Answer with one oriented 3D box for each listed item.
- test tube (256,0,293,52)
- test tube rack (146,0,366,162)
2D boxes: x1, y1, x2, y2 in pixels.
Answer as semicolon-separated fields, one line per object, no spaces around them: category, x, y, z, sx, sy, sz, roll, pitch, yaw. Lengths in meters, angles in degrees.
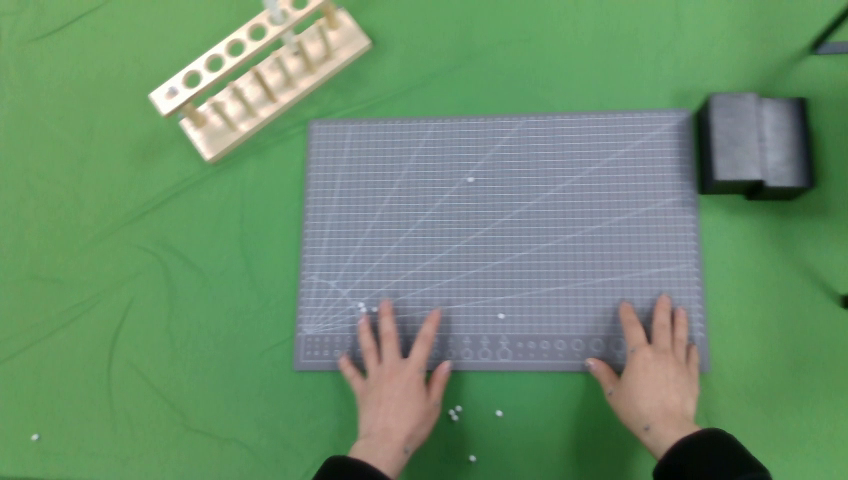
test tube;-0.172;-0.256;0.672;0.017;0.151;0.017;-1;74;5
test tube rack;-0.191;-0.202;0.712;0.242;0.085;0.066;-38;77;-4
